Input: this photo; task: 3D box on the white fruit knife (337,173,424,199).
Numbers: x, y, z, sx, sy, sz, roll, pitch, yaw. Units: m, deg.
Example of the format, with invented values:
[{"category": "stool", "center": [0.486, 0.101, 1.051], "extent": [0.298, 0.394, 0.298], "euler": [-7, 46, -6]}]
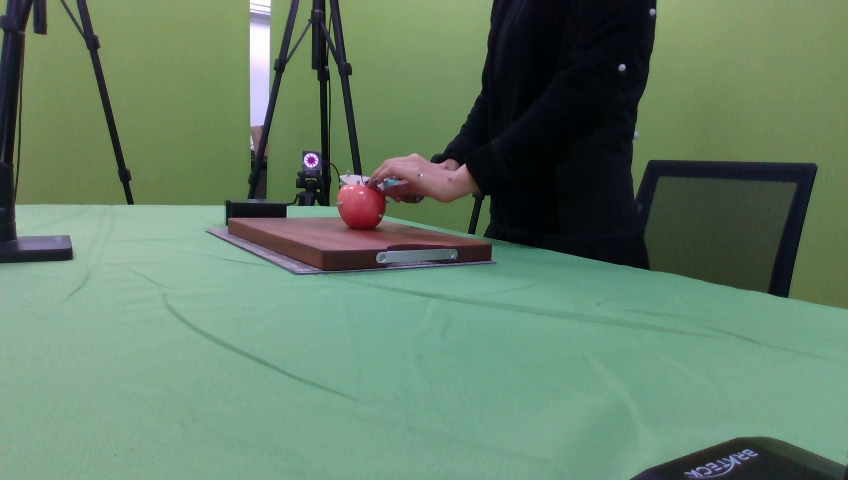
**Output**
[{"category": "white fruit knife", "center": [-0.069, -0.095, 1.040], "extent": [0.016, 0.027, 0.208], "euler": [14, 6, 41]}]

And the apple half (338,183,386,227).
[{"category": "apple half", "center": [-0.094, -0.056, 0.988], "extent": [0.053, 0.074, 0.081], "euler": [15, 9, 41]}]

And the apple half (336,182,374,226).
[{"category": "apple half", "center": [-0.122, -0.062, 1.014], "extent": [0.032, 0.081, 0.082], "euler": [13, 12, 42]}]
